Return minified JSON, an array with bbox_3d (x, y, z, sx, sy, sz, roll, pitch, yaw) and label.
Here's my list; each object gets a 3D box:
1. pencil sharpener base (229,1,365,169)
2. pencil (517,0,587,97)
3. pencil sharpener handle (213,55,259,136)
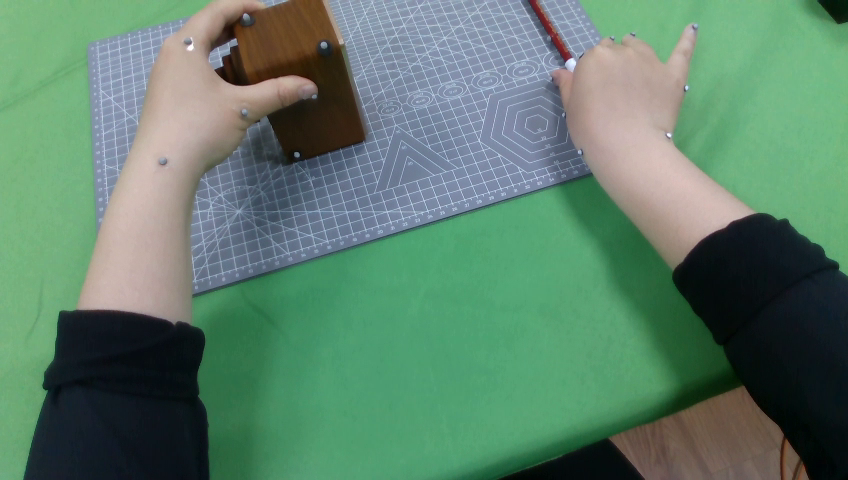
[{"bbox_3d":[-0.096,-0.114,0.466,0.077,0.108,0.061,-20,61,-6],"label":"pencil sharpener base"},{"bbox_3d":[0.102,-0.200,0.554,0.012,0.012,0.192,-19,60,-6],"label":"pencil"},{"bbox_3d":[-0.145,-0.103,0.450,0.030,0.068,0.035,-20,62,-6],"label":"pencil sharpener handle"}]
